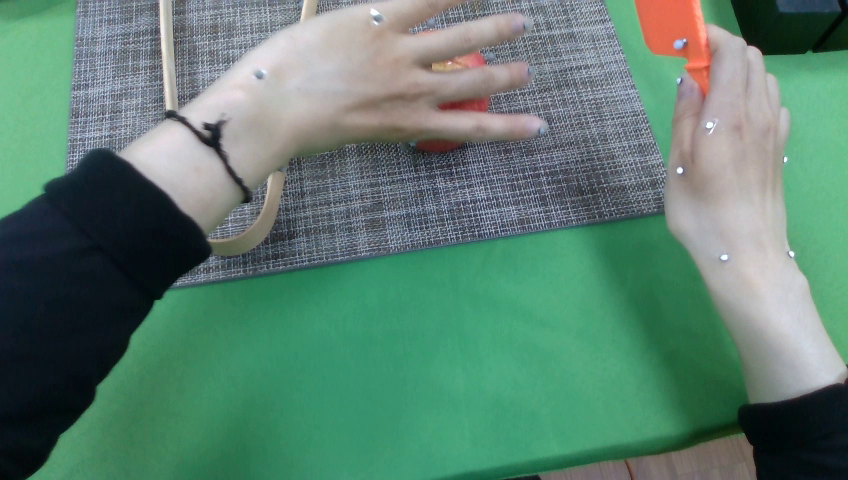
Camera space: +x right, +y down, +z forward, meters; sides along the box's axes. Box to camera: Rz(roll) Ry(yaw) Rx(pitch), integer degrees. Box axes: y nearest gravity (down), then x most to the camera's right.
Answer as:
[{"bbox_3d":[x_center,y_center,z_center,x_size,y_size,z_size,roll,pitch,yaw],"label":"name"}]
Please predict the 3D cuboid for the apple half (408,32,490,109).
[{"bbox_3d":[0.024,-0.124,0.454,0.081,0.082,0.033,37,74,14],"label":"apple half"}]

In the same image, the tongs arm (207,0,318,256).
[{"bbox_3d":[-0.116,-0.168,0.495,0.051,0.027,0.382,2,68,-1],"label":"tongs arm"}]

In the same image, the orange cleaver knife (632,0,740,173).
[{"bbox_3d":[0.161,-0.144,0.391,0.012,0.076,0.213,-27,111,-8],"label":"orange cleaver knife"}]

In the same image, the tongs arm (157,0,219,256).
[{"bbox_3d":[-0.200,-0.163,0.493,0.028,0.028,0.384,-10,68,-9],"label":"tongs arm"}]

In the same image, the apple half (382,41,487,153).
[{"bbox_3d":[0.000,-0.096,0.443,0.080,0.075,0.053,39,75,12],"label":"apple half"}]
